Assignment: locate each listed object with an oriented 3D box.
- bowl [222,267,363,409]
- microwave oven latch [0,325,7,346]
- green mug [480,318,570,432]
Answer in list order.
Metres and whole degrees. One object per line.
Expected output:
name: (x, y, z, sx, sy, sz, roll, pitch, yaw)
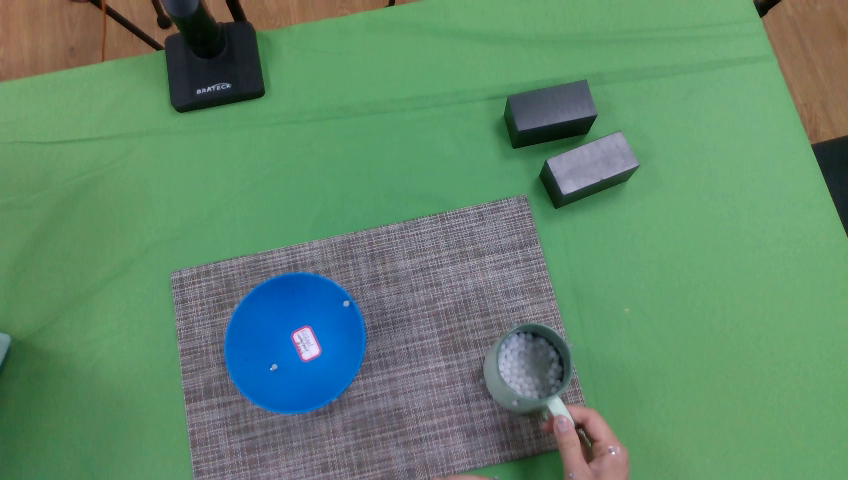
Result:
bowl: (-0.139, 0.112, 0.678, 0.151, 0.077, 0.150, 0, 75, 1)
microwave oven latch: (-0.504, 0.131, 0.683, 0.030, 0.029, 0.079, 17, 77, 5)
green mug: (0.117, 0.147, 0.650, 0.092, 0.105, 0.124, -28, 74, -8)
